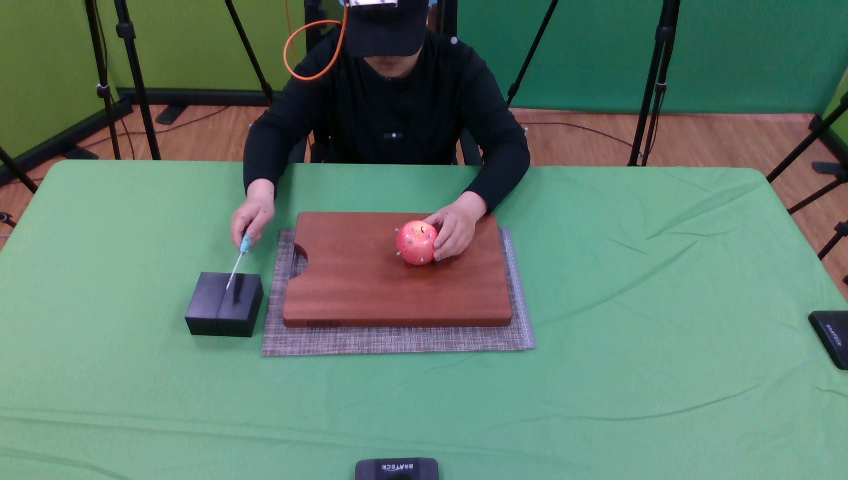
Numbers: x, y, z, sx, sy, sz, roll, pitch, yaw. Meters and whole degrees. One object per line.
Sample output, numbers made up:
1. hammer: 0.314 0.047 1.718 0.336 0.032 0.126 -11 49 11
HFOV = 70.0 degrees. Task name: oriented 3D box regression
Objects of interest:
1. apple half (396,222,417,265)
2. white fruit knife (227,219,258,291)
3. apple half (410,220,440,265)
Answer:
1. apple half: -0.036 0.010 1.110 0.033 0.081 0.080 -6 47 -15
2. white fruit knife: -0.325 0.023 1.086 0.016 0.027 0.206 16 34 -12
3. apple half: 0.002 0.005 1.119 0.053 0.075 0.080 -5 43 -15
